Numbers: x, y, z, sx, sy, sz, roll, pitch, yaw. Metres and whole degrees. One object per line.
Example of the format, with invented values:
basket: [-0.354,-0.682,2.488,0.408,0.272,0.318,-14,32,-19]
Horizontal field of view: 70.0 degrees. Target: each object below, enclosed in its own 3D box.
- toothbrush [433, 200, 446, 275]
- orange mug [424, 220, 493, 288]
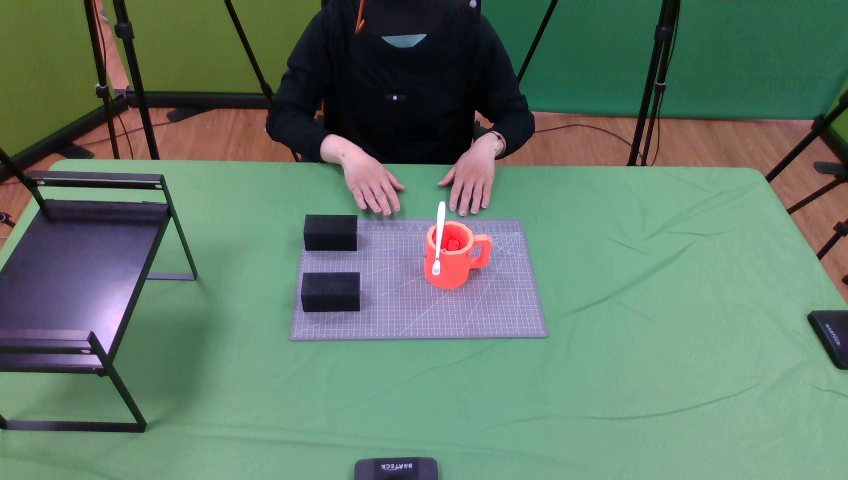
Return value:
toothbrush: [0.028,-0.010,1.076,0.014,0.017,0.181,3,46,4]
orange mug: [0.063,0.023,1.119,0.126,0.101,0.083,-9,47,-7]
